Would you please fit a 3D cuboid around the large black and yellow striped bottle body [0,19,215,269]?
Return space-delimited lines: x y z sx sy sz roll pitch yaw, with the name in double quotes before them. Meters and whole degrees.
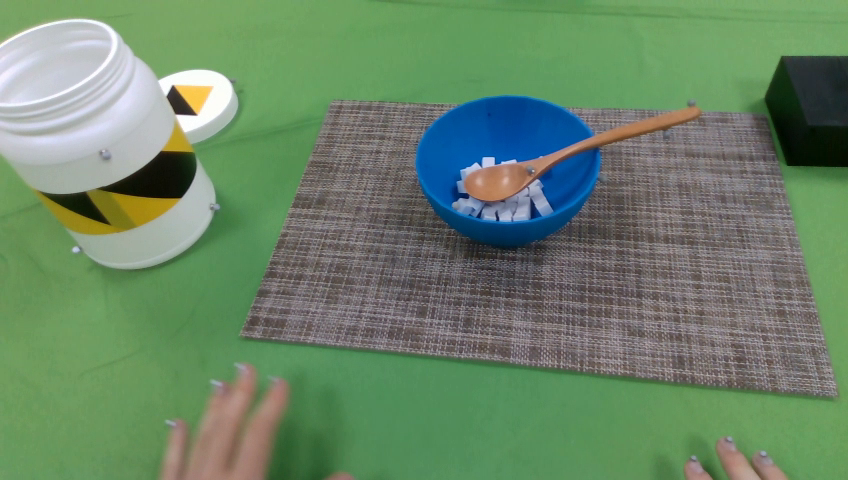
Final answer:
"large black and yellow striped bottle body" -0.272 -0.077 0.516 0.131 0.186 0.129 -3 52 4

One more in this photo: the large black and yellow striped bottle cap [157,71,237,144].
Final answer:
"large black and yellow striped bottle cap" -0.270 -0.149 0.680 0.115 0.019 0.114 -2 52 3

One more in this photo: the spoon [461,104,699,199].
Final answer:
"spoon" 0.123 -0.073 0.489 0.193 0.022 0.041 -20 48 14

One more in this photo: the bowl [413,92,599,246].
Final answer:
"bowl" 0.068 -0.048 0.520 0.151 0.077 0.150 -3 53 4
